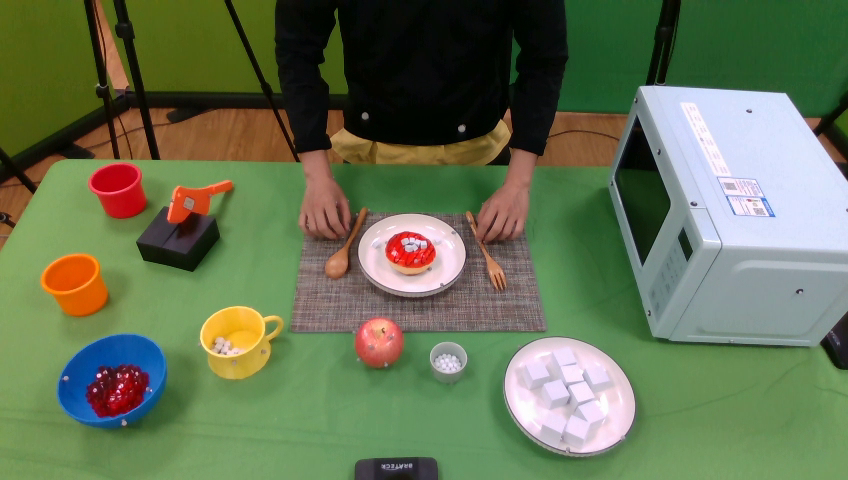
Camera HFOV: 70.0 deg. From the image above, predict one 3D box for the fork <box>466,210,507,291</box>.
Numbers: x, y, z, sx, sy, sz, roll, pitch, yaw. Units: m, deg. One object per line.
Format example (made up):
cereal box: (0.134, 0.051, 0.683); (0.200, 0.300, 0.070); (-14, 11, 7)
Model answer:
fork: (0.119, 0.016, 1.189); (0.028, 0.019, 0.206); (-15, 48, -6)

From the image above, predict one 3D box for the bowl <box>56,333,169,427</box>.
bowl: (-0.456, 0.222, 0.911); (0.151, 0.077, 0.150); (3, 46, -2)

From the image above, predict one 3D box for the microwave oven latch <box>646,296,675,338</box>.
microwave oven latch: (0.412, 0.134, 1.061); (0.030, 0.029, 0.078); (4, 45, 1)

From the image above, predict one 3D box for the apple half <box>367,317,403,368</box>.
apple half: (-0.061, 0.167, 0.998); (0.053, 0.075, 0.080); (-11, 44, -20)

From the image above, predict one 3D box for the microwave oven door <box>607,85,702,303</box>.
microwave oven door: (0.423, -0.094, 1.140); (0.039, 0.245, 0.353); (2, 46, -1)

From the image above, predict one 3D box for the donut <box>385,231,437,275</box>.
donut: (-0.025, 0.024, 1.141); (0.099, 0.048, 0.098); (3, 44, -3)

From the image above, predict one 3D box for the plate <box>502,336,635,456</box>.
plate: (0.225, 0.248, 0.963); (0.208, 0.039, 0.206); (2, 46, -2)

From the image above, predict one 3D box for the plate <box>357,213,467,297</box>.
plate: (-0.023, 0.032, 1.150); (0.209, 0.038, 0.208); (2, 46, -2)

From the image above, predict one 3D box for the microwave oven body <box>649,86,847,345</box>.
microwave oven body: (0.568, -0.053, 1.118); (0.326, 0.261, 0.439); (2, 45, -1)

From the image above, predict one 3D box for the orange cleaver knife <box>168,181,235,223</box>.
orange cleaver knife: (-0.436, -0.078, 1.196); (0.012, 0.077, 0.211); (16, 15, 10)

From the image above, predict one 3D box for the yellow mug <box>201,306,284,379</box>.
yellow mug: (-0.291, 0.160, 0.993); (0.131, 0.064, 0.099); (-23, 51, -25)

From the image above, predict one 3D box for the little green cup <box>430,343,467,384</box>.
little green cup: (0.039, 0.203, 0.993); (0.061, 0.039, 0.061); (2, 46, -2)

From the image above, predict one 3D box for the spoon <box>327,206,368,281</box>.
spoon: (-0.145, 0.002, 1.187); (0.041, 0.022, 0.193); (12, 47, 7)

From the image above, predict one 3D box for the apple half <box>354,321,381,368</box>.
apple half: (-0.097, 0.176, 0.985); (0.033, 0.081, 0.080); (-12, 48, -20)
